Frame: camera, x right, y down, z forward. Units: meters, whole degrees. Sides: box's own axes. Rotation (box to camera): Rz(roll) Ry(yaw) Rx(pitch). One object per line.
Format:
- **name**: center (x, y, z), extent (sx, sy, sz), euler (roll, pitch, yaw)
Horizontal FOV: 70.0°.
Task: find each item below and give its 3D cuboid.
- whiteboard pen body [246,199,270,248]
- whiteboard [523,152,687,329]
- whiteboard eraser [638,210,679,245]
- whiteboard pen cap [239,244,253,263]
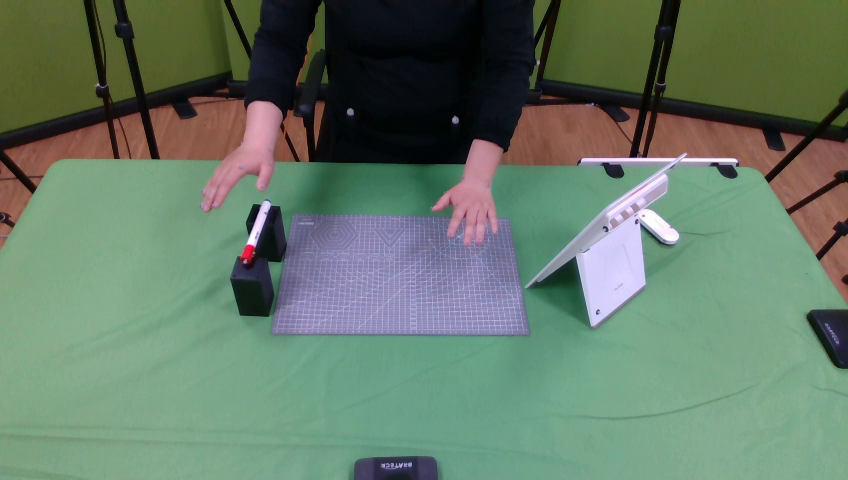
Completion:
- **whiteboard pen body**: center (-0.293, -0.020, 1.060), extent (0.017, 0.017, 0.140), euler (5, 47, 1)
- **whiteboard**: center (0.346, 0.024, 1.047), extent (0.217, 0.306, 0.143), euler (-30, 74, -29)
- **whiteboard eraser**: center (0.485, -0.027, 1.260), extent (0.041, 0.019, 0.100), euler (-21, 50, -21)
- **whiteboard pen cap**: center (-0.298, 0.022, 1.016), extent (0.017, 0.017, 0.032), euler (6, 45, 2)
